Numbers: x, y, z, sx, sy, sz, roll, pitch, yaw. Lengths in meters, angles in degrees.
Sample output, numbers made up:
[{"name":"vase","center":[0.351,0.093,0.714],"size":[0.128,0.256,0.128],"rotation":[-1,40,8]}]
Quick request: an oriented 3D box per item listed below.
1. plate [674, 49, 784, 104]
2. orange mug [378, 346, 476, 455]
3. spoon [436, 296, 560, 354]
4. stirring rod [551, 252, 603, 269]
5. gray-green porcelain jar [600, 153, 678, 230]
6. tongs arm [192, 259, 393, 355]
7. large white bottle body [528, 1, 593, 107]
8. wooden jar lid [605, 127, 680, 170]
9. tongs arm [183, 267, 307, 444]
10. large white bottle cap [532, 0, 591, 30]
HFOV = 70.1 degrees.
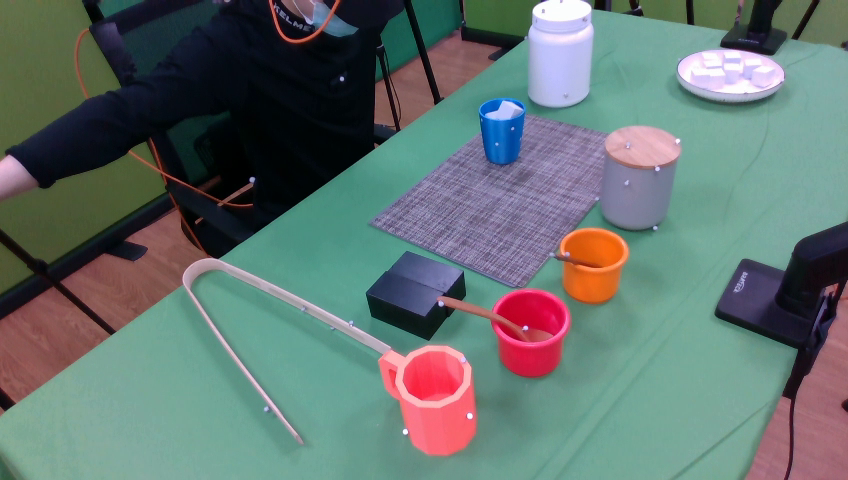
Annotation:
[{"name":"plate","center":[0.631,-0.336,1.262],"size":[0.207,0.039,0.206],"rotation":[-4,41,4]},{"name":"orange mug","center":[0.002,0.179,0.708],"size":[0.125,0.101,0.083],"rotation":[25,50,27]},{"name":"spoon","center":[0.095,0.102,0.750],"size":[0.195,0.021,0.041],"rotation":[28,30,-28]},{"name":"stirring rod","center":[0.211,0.029,0.822],"size":[0.014,0.006,0.177],"rotation":[32,11,33]},{"name":"gray-green porcelain jar","center":[0.334,-0.088,0.949],"size":[0.106,0.127,0.105],"rotation":[-4,40,4]},{"name":"tongs arm","center":[-0.204,0.100,0.881],"size":[0.382,0.027,0.051],"rotation":[23,54,31]},{"name":"large white bottle body","center":[0.282,-0.386,1.259],"size":[0.130,0.185,0.130],"rotation":[-5,41,5]},{"name":"wooden jar lid","center":[0.327,-0.134,0.909],"size":[0.108,0.021,0.108],"rotation":[-2,43,2]},{"name":"tongs arm","center":[-0.260,0.147,0.842],"size":[0.028,0.028,0.384],"rotation":[-37,48,-18]},{"name":"large white bottle cap","center":[0.274,-0.450,1.204],"size":[0.115,0.018,0.114],"rotation":[-4,41,4]}]
